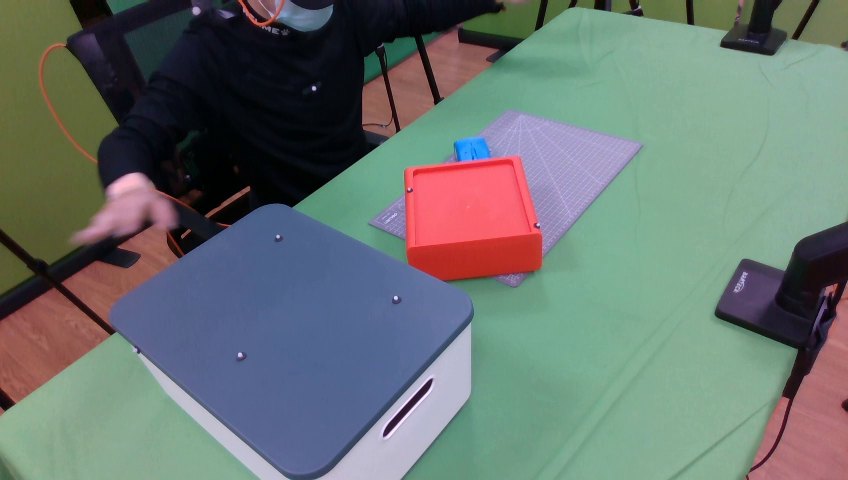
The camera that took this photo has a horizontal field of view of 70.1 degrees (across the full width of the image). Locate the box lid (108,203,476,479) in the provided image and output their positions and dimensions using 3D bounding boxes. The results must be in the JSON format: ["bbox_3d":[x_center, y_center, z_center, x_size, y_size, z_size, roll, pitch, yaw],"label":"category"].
[{"bbox_3d":[-0.156,0.079,0.678,0.368,0.015,0.264,24,49,32],"label":"box lid"}]

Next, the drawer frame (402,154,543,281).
[{"bbox_3d":[0.071,-0.041,0.958,0.202,0.083,0.212,-6,41,1],"label":"drawer frame"}]

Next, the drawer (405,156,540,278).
[{"bbox_3d":[0.071,-0.040,0.961,0.194,0.073,0.210,-5,41,1],"label":"drawer"}]

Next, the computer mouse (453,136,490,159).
[{"bbox_3d":[0.091,-0.157,1.128,0.063,0.041,0.116,-7,45,-2],"label":"computer mouse"}]

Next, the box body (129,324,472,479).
[{"bbox_3d":[-0.147,0.136,0.726,0.361,0.161,0.255,24,50,32],"label":"box body"}]
